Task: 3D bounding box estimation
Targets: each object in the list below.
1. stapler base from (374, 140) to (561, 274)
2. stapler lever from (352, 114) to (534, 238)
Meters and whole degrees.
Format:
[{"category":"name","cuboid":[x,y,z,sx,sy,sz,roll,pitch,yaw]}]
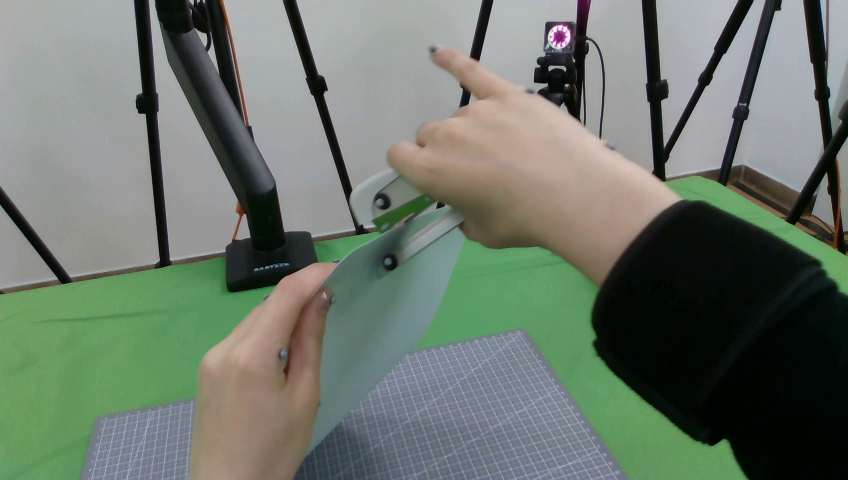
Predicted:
[{"category":"stapler base","cuboid":[0.018,-0.022,0.359,0.130,0.024,0.041,-32,2,26]},{"category":"stapler lever","cuboid":[0.007,-0.043,0.358,0.118,0.040,0.027,-34,2,26]}]
